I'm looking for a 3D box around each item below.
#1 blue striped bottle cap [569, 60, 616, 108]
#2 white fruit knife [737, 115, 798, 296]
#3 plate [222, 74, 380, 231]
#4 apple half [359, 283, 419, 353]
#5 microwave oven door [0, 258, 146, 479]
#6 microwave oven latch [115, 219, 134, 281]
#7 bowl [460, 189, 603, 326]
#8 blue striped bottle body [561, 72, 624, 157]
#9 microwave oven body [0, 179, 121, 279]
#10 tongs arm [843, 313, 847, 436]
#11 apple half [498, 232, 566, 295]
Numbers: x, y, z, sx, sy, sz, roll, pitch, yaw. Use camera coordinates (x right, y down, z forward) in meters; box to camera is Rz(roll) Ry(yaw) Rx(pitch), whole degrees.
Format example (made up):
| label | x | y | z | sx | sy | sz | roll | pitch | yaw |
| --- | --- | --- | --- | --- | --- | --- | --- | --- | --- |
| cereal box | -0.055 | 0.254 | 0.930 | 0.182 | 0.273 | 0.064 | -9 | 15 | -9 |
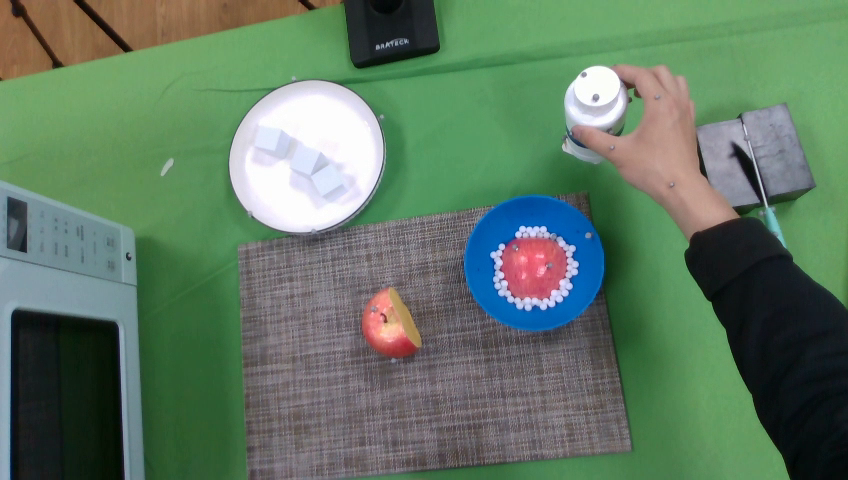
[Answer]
| label | x | y | z | sx | sy | sz | roll | pitch | yaw |
| --- | --- | --- | --- | --- | --- | --- | --- | --- | --- |
| blue striped bottle cap | 0.165 | -0.152 | 0.592 | 0.044 | 0.021 | 0.044 | -3 | 79 | 14 |
| white fruit knife | 0.367 | -0.035 | 0.653 | 0.016 | 0.027 | 0.207 | -18 | 93 | 23 |
| plate | -0.155 | -0.110 | 0.782 | 0.207 | 0.039 | 0.206 | -2 | 79 | 9 |
| apple half | -0.045 | 0.096 | 0.702 | 0.053 | 0.075 | 0.080 | -28 | 79 | 7 |
| microwave oven door | -0.383 | 0.206 | 0.637 | 0.039 | 0.245 | 0.354 | -11 | 78 | 8 |
| microwave oven latch | -0.394 | 0.014 | 0.780 | 0.030 | 0.029 | 0.079 | -10 | 79 | 7 |
| bowl | 0.120 | 0.025 | 0.684 | 0.151 | 0.077 | 0.150 | -2 | 79 | 11 |
| blue striped bottle body | 0.177 | -0.139 | 0.640 | 0.063 | 0.121 | 0.062 | -3 | 74 | 13 |
| microwave oven body | -0.530 | 0.192 | 0.669 | 0.326 | 0.261 | 0.439 | -10 | 78 | 7 |
| tongs arm | 0.479 | 0.033 | 0.653 | 0.028 | 0.028 | 0.386 | 8 | 81 | 9 |
| apple half | 0.121 | 0.024 | 0.680 | 0.081 | 0.033 | 0.081 | -2 | 79 | 10 |
